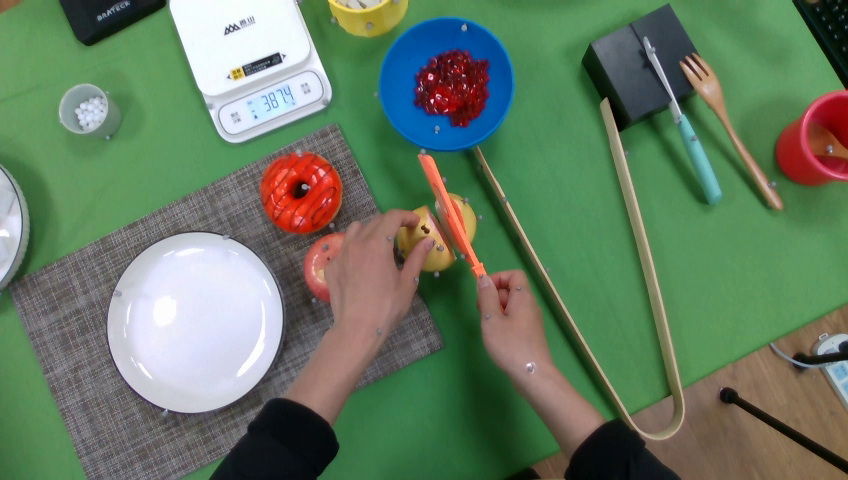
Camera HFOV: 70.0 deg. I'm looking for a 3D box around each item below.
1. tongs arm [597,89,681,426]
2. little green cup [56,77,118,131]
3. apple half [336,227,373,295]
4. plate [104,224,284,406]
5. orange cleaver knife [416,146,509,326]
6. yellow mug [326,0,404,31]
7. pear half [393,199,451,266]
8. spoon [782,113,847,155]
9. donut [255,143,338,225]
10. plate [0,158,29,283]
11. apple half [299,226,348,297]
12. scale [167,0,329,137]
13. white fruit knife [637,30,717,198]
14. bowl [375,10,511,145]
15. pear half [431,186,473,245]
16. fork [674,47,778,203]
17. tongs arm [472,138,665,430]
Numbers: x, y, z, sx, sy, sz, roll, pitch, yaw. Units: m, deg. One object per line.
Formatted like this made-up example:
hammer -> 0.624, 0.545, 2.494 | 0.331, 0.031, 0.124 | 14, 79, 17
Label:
tongs arm -> 0.242, 0.015, 0.693 | 0.028, 0.028, 0.386 | -11, 86, -4
little green cup -> -0.408, -0.163, 0.739 | 0.061, 0.039, 0.061 | 0, 85, 4
apple half -> -0.073, 0.025, 0.684 | 0.033, 0.081, 0.081 | 7, 85, 7
plate -> -0.263, 0.085, 0.707 | 0.209, 0.038, 0.208 | 0, 85, 3
orange cleaver knife -> 0.038, -0.007, 0.646 | 0.012, 0.077, 0.211 | -25, 91, -4
yellow mug -> -0.088, -0.318, 0.721 | 0.130, 0.064, 0.100 | 31, 88, 6
pear half -> -0.007, -0.006, 0.671 | 0.056, 0.110, 0.076 | -32, 76, 0
spoon -> 0.459, -0.085, 0.636 | 0.041, 0.022, 0.191 | -32, 40, 0
donut -> -0.149, -0.065, 0.711 | 0.099, 0.048, 0.099 | 0, 86, 4
plate -> -0.577, -0.020, 0.736 | 0.207, 0.039, 0.207 | 0, 85, 3
apple half -> -0.112, 0.022, 0.687 | 0.053, 0.075, 0.080 | 7, 88, 7
scale -> -0.215, -0.240, 0.738 | 0.148, 0.031, 0.200 | -22, 85, 1
white fruit knife -> 0.284, -0.140, 0.681 | 0.016, 0.027, 0.208 | -29, 99, 0
bowl -> 0.023, -0.175, 0.698 | 0.151, 0.077, 0.151 | 0, 86, 3
pear half -> 0.038, -0.034, 0.685 | 0.031, 0.088, 0.070 | -31, 75, -20
fork -> 0.345, -0.127, 0.685 | 0.028, 0.018, 0.208 | -36, 100, -2
tongs arm -> 0.162, 0.045, 0.694 | 0.051, 0.026, 0.384 | -26, 85, -2
